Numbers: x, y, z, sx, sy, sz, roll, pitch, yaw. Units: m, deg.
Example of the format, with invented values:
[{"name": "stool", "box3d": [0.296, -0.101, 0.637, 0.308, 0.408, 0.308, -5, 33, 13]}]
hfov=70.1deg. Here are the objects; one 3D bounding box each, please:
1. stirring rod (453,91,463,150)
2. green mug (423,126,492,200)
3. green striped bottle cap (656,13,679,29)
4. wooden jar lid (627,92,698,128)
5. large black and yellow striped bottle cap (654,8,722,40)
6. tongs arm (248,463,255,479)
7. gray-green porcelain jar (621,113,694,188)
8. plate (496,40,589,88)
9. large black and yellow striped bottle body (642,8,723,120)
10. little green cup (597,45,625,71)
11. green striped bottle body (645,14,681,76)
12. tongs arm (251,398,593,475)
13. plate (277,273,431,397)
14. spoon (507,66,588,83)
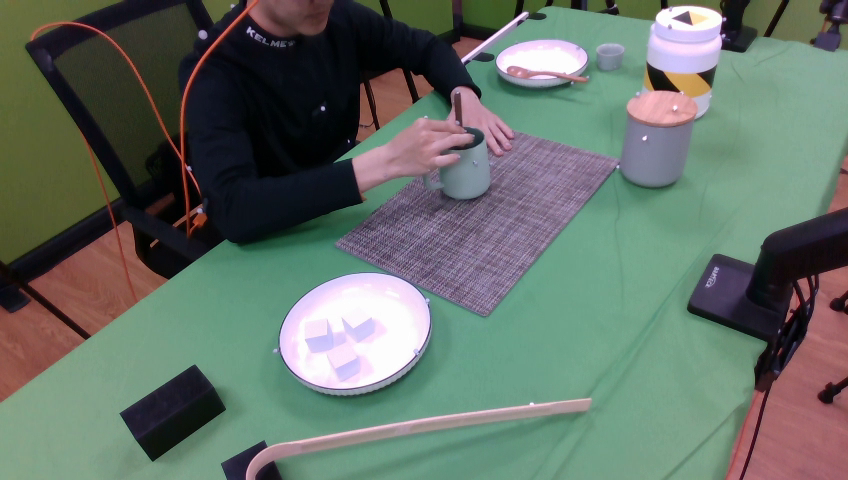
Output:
[{"name": "stirring rod", "box3d": [0.059, -0.161, 1.000, 0.006, 0.177, 0.014, 20, 42, 32]}, {"name": "green mug", "box3d": [0.055, -0.125, 1.039, 0.126, 0.105, 0.091, -25, 44, -19]}, {"name": "green striped bottle cap", "box3d": [0.515, -0.463, 1.278, 0.044, 0.020, 0.044, -6, 42, 6]}, {"name": "wooden jar lid", "box3d": [0.384, -0.207, 0.980, 0.108, 0.021, 0.108, -6, 39, 5]}, {"name": "large black and yellow striped bottle cap", "box3d": [0.483, -0.397, 1.108, 0.115, 0.019, 0.114, -3, 41, 3]}, {"name": "tongs arm", "box3d": [0.012, 0.262, 0.615, 0.385, 0.026, 0.050, 2, 42, -2]}, {"name": "gray-green porcelain jar", "box3d": [0.390, -0.161, 1.020, 0.106, 0.127, 0.105, -4, 41, 4]}, {"name": "plate", "box3d": [0.269, -0.398, 1.381, 0.209, 0.038, 0.208, -4, 41, 4]}, {"name": "large black and yellow striped bottle body", "box3d": [0.493, -0.334, 1.161, 0.131, 0.185, 0.130, -4, 41, 4]}, {"name": "little green cup", "box3d": [0.422, -0.413, 1.375, 0.061, 0.039, 0.061, -3, 41, 3]}, {"name": "green striped bottle body", "box3d": [0.520, -0.424, 1.312, 0.063, 0.120, 0.063, -4, 41, 4]}, {"name": "tongs arm", "box3d": [0.008, 0.212, 0.675, 0.389, 0.028, 0.028, -5, 46, -11]}, {"name": "plate", "box3d": [-0.091, 0.129, 0.821, 0.207, 0.039, 0.206, -4, 40, 4]}, {"name": "spoon", "box3d": [0.265, -0.357, 1.311, 0.192, 0.022, 0.042, 18, 47, 38]}]
